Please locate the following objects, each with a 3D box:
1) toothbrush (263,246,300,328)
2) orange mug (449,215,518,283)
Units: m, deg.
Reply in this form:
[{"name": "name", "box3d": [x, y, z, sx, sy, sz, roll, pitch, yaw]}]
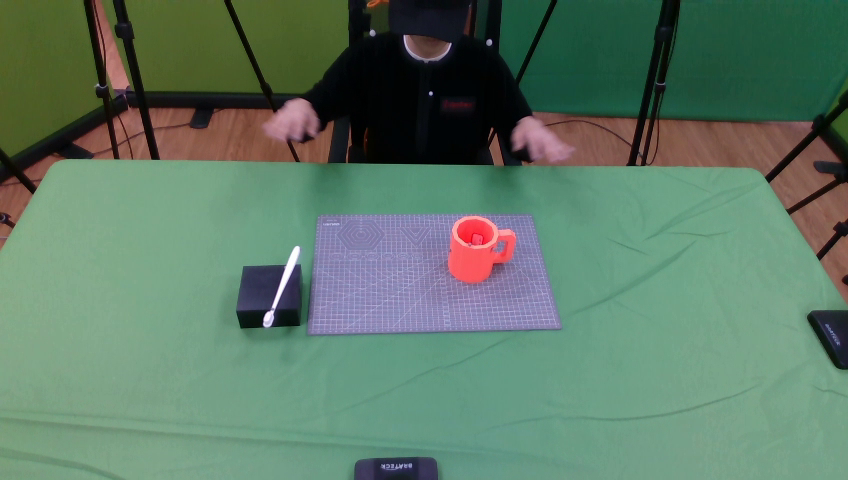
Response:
[{"name": "toothbrush", "box3d": [-0.243, 0.074, 1.042, 0.014, 0.017, 0.181, 5, 45, 6]}, {"name": "orange mug", "box3d": [0.110, 0.015, 1.130, 0.126, 0.101, 0.083, -8, 47, -6]}]
